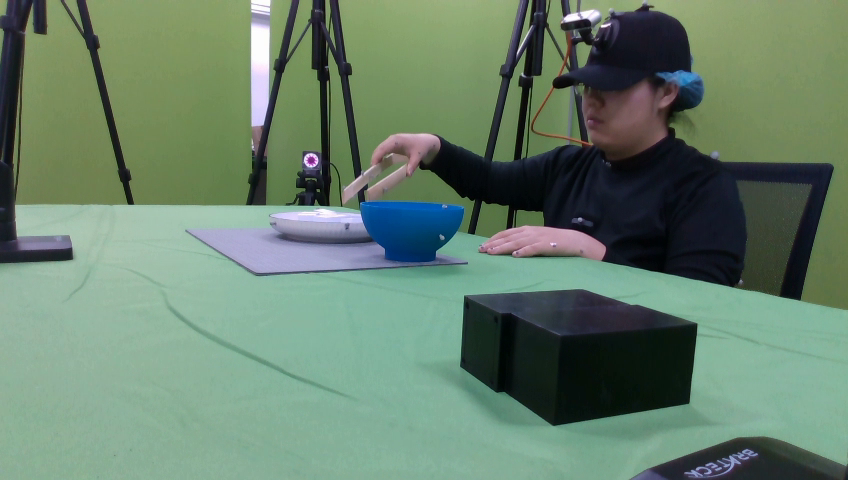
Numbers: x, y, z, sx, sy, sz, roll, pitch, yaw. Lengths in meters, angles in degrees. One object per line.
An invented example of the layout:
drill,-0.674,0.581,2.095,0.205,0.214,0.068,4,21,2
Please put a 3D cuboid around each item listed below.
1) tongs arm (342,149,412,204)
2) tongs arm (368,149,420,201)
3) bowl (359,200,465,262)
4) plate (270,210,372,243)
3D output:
tongs arm,-0.081,-0.131,1.173,0.051,0.026,0.385,2,19,9
tongs arm,-0.053,-0.128,1.168,0.028,0.028,0.388,0,18,13
bowl,-0.018,-0.013,0.859,0.151,0.077,0.151,2,7,0
plate,-0.161,-0.023,1.054,0.208,0.039,0.207,2,7,0
